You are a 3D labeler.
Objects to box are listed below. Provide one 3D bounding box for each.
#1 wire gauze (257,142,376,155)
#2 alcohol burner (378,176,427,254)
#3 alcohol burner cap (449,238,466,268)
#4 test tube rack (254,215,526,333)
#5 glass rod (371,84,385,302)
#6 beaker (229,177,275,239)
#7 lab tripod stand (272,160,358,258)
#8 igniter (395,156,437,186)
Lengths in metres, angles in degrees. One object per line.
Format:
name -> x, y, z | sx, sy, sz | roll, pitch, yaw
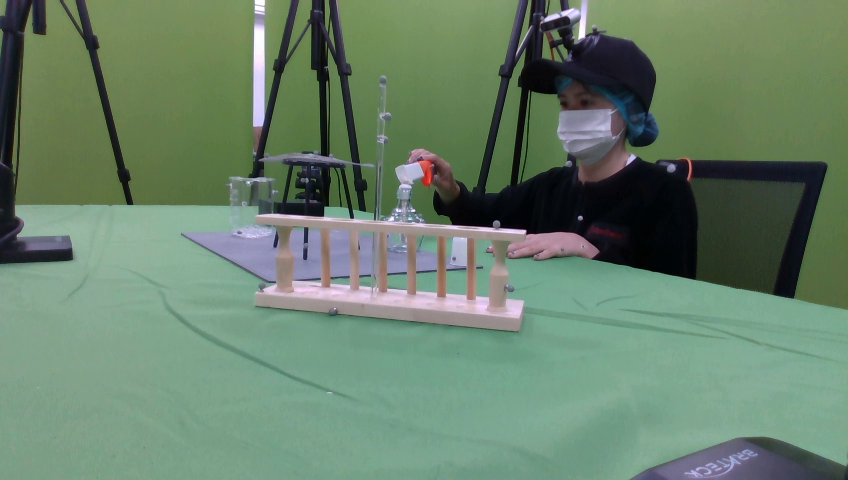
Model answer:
wire gauze -> -0.155, -0.130, 0.871 | 0.124, 0.011, 0.122 | -1, 7, 36
alcohol burner -> -0.033, -0.039, 0.936 | 0.078, 0.119, 0.078 | 1, 6, 0
alcohol burner cap -> 0.051, 0.015, 0.828 | 0.034, 0.048, 0.034 | 2, 6, 0
test tube rack -> -0.030, 0.025, 0.558 | 0.242, 0.085, 0.067 | 4, 7, 12
glass rod -> -0.041, -0.041, 0.548 | 0.008, 0.199, 0.008 | 2, 2, 0
beaker -> -0.292, -0.056, 1.023 | 0.074, 0.100, 0.083 | -1, 8, -26
lab tripod stand -> -0.159, -0.048, 0.876 | 0.148, 0.131, 0.148 | 3, 5, 0
igniter -> -0.010, -0.122, 1.077 | 0.025, 0.057, 0.277 | -21, 4, 13
